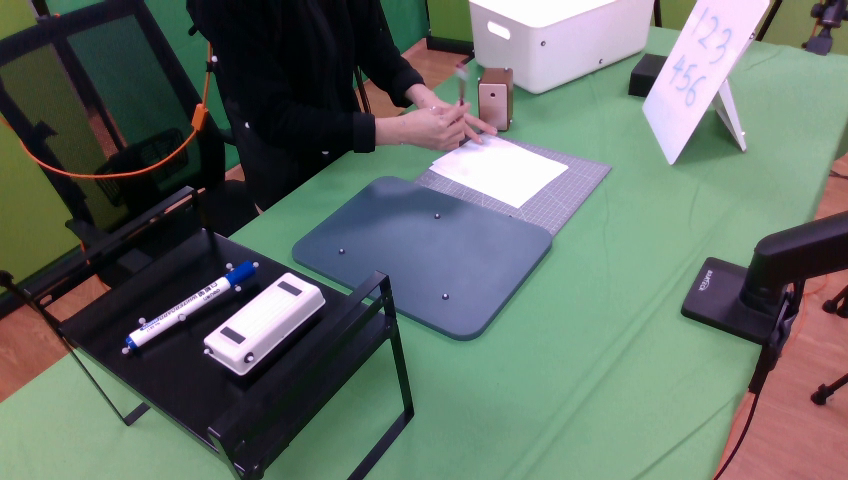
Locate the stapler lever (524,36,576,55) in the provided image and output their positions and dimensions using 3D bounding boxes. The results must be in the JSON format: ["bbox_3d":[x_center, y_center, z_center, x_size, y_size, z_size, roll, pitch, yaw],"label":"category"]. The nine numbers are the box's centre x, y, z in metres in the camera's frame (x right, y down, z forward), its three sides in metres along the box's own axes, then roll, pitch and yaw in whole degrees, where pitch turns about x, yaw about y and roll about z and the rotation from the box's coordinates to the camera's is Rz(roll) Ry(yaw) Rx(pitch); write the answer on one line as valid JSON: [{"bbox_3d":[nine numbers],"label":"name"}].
[{"bbox_3d":[0.296,-0.456,1.418,0.117,0.040,0.027,4,40,17],"label":"stapler lever"}]

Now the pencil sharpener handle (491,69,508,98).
[{"bbox_3d":[0.155,-0.329,1.254,0.036,0.068,0.030,17,43,3],"label":"pencil sharpener handle"}]

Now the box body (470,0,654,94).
[{"bbox_3d":[0.319,-0.498,1.405,0.365,0.161,0.252,-26,43,-21],"label":"box body"}]

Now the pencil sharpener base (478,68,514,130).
[{"bbox_3d":[0.148,-0.286,1.225,0.061,0.107,0.076,5,41,15],"label":"pencil sharpener base"}]

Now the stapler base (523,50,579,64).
[{"bbox_3d":[0.301,-0.436,1.434,0.130,0.024,0.041,5,40,17],"label":"stapler base"}]

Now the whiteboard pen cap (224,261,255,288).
[{"bbox_3d":[-0.207,0.039,0.677,0.033,0.018,0.018,-36,47,-18],"label":"whiteboard pen cap"}]

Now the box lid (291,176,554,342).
[{"bbox_3d":[-0.005,0.011,0.972,0.368,0.015,0.264,21,49,30],"label":"box lid"}]

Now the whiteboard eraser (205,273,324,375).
[{"bbox_3d":[-0.157,0.084,0.605,0.055,0.042,0.113,24,49,30],"label":"whiteboard eraser"}]

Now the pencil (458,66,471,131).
[{"bbox_3d":[0.068,-0.238,1.041,0.012,0.194,0.012,0,69,-1],"label":"pencil"}]

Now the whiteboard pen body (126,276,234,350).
[{"bbox_3d":[-0.251,0.070,0.649,0.141,0.017,0.017,-36,48,-26],"label":"whiteboard pen body"}]

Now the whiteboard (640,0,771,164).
[{"bbox_3d":[0.543,-0.299,1.076,0.144,0.305,0.216,12,40,-7],"label":"whiteboard"}]
